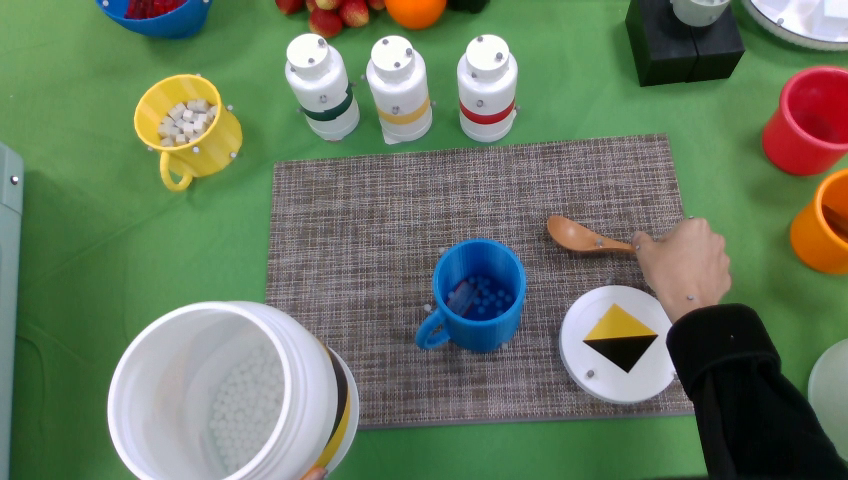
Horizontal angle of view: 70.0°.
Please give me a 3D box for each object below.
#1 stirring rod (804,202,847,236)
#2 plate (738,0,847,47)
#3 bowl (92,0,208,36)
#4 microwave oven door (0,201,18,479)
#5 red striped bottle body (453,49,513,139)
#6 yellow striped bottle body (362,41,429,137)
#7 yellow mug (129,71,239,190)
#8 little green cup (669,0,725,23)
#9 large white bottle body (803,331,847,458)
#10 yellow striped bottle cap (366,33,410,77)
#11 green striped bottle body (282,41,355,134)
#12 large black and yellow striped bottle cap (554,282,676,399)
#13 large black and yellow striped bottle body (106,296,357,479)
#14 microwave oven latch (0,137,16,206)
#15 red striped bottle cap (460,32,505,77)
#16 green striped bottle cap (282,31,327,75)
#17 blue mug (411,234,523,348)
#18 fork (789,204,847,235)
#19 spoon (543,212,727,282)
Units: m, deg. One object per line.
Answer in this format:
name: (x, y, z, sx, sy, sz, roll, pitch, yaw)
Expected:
stirring rod: (0.400, -0.001, 0.554, 0.014, 0.006, 0.175, -1, 26, 1)
plate: (0.466, -0.311, 0.718, 0.209, 0.038, 0.207, -1, 70, 4)
bowl: (-0.331, -0.314, 0.765, 0.151, 0.077, 0.150, -1, 69, 4)
microwave oven door: (-0.453, 0.087, 0.516, 0.039, 0.245, 0.353, -13, 69, 1)
red striped bottle body: (0.063, -0.166, 0.654, 0.063, 0.120, 0.062, -2, 68, 5)
yellow striped bottle body: (-0.031, -0.170, 0.662, 0.063, 0.121, 0.062, -2, 68, 5)
yellow mug: (-0.277, -0.120, 0.693, 0.100, 0.064, 0.130, 6, 70, 7)
little green cup: (0.300, -0.270, 0.662, 0.061, 0.039, 0.061, -1, 67, 3)
large white bottle body: (0.411, 0.116, 0.481, 0.130, 0.186, 0.129, -2, 68, 5)
yellow striped bottle cap: (-0.036, -0.188, 0.613, 0.044, 0.019, 0.044, 0, 65, 0)
green striped bottle body: (-0.117, -0.174, 0.671, 0.063, 0.120, 0.062, -1, 69, 4)
large black and yellow striped bottle cap: (0.187, 0.097, 0.595, 0.115, 0.019, 0.114, -1, 68, 4)
large black and yellow striped bottle body: (-0.125, 0.114, 0.432, 0.131, 0.185, 0.130, -1, 71, 3)
microwave oven latch: (-0.486, -0.076, 0.689, 0.030, 0.030, 0.078, -11, 69, 0)
red striped bottle cap: (0.059, -0.186, 0.604, 0.044, 0.018, 0.044, 0, 67, 1)
green striped bottle cap: (-0.123, -0.193, 0.623, 0.044, 0.020, 0.044, -1, 68, 4)
blue mug: (0.036, 0.061, 0.573, 0.116, 0.106, 0.081, -36, 69, -9)
fork: (0.429, -0.001, 0.543, 0.028, 0.019, 0.205, -31, 25, -15)
spoon: (0.215, 0.009, 0.623, 0.193, 0.022, 0.041, 16, 43, 9)
